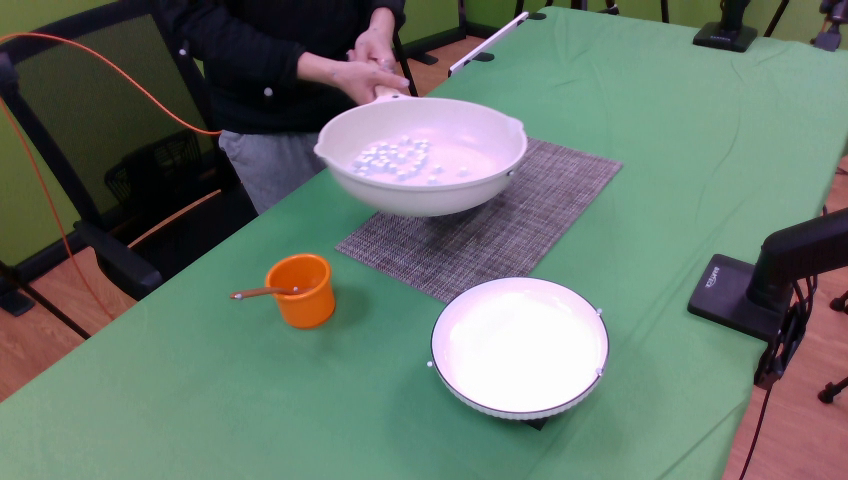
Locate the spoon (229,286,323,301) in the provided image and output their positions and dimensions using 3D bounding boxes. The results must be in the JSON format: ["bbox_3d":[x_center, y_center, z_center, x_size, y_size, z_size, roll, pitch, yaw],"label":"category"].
[{"bbox_3d":[-0.198,0.071,0.817,0.041,0.195,0.021,12,88,23],"label":"spoon"}]

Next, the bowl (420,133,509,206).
[{"bbox_3d":[0.072,-0.112,1.039,0.151,0.077,0.150,-4,41,4],"label":"bowl"}]

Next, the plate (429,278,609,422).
[{"bbox_3d":[0.111,0.129,0.716,0.207,0.039,0.206,-5,39,4],"label":"plate"}]

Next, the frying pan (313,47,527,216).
[{"bbox_3d":[-0.036,-0.191,0.935,0.308,0.103,0.484,-10,44,-17],"label":"frying pan"}]
